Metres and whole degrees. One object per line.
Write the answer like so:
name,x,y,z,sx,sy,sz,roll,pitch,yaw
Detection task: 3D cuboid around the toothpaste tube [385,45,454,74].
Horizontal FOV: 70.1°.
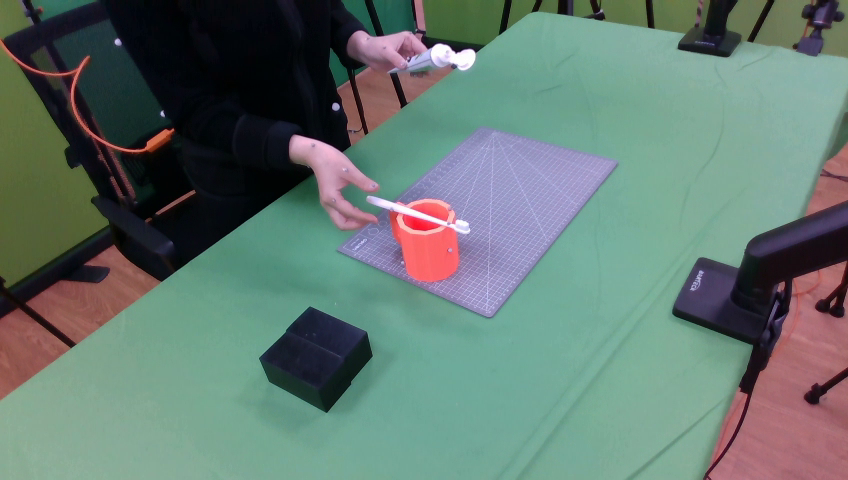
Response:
toothpaste tube,-0.003,-0.294,1.005,0.055,0.034,0.164,-9,8,-32

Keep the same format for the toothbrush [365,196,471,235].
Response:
toothbrush,-0.013,-0.039,0.880,0.180,0.017,0.014,18,49,27

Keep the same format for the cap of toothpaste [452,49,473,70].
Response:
cap of toothpaste,0.060,-0.283,0.943,0.037,0.011,0.037,-12,70,35

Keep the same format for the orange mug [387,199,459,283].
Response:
orange mug,-0.006,-0.007,0.922,0.125,0.101,0.084,33,54,32
